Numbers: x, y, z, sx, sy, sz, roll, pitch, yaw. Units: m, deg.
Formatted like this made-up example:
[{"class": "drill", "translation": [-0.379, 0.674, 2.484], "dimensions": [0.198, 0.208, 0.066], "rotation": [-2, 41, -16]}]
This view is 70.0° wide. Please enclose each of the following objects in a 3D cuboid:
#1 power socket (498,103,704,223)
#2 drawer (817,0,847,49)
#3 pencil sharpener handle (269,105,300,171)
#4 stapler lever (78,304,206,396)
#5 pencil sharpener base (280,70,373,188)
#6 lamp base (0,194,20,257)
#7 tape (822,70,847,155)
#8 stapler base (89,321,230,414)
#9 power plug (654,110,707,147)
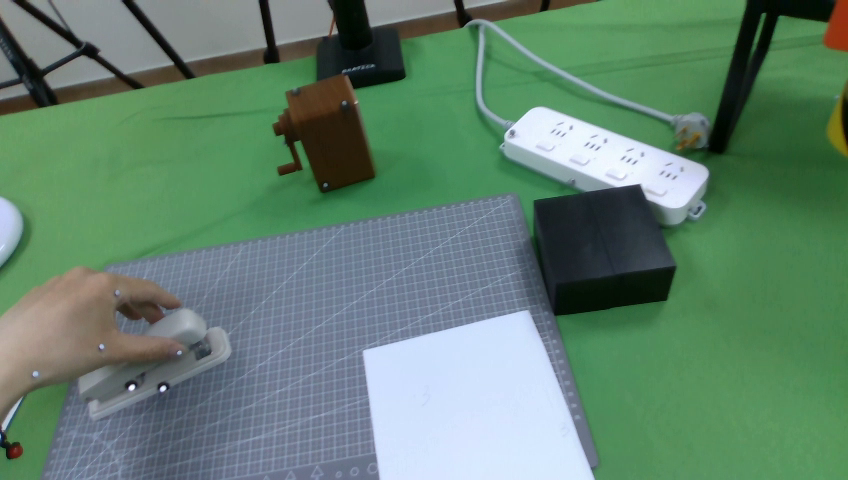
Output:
[{"class": "power socket", "translation": [0.182, -0.086, 0.639], "dimensions": [0.224, 0.033, 0.072], "rotation": [30, 60, 31]}, {"class": "drawer", "translation": [0.417, -0.200, 0.427], "dimensions": [0.193, 0.074, 0.211], "rotation": [23, 56, 27]}, {"class": "pencil sharpener handle", "translation": [-0.156, -0.108, 0.650], "dimensions": [0.030, 0.068, 0.035], "rotation": [-19, 28, -6]}, {"class": "stapler lever", "translation": [-0.249, 0.095, 0.530], "dimensions": [0.118, 0.040, 0.026], "rotation": [-25, 48, -11]}, {"class": "pencil sharpener base", "translation": [-0.108, -0.119, 0.669], "dimensions": [0.077, 0.108, 0.060], "rotation": [-19, 50, -6]}, {"class": "lamp base", "translation": [-0.564, -0.053, 0.642], "dimensions": [0.160, 0.182, 0.177], "rotation": [-35, 50, -19]}, {"class": "tape", "translation": [0.475, -0.130, 0.613], "dimensions": [0.117, 0.053, 0.115], "rotation": [-5, 51, 7]}, {"class": "stapler base", "translation": [-0.244, 0.109, 0.549], "dimensions": [0.130, 0.025, 0.041], "rotation": [-25, 48, -10]}, {"class": "power plug", "translation": [0.274, -0.118, 0.663], "dimensions": [0.052, 0.035, 0.072], "rotation": [-35, 16, -24]}]
